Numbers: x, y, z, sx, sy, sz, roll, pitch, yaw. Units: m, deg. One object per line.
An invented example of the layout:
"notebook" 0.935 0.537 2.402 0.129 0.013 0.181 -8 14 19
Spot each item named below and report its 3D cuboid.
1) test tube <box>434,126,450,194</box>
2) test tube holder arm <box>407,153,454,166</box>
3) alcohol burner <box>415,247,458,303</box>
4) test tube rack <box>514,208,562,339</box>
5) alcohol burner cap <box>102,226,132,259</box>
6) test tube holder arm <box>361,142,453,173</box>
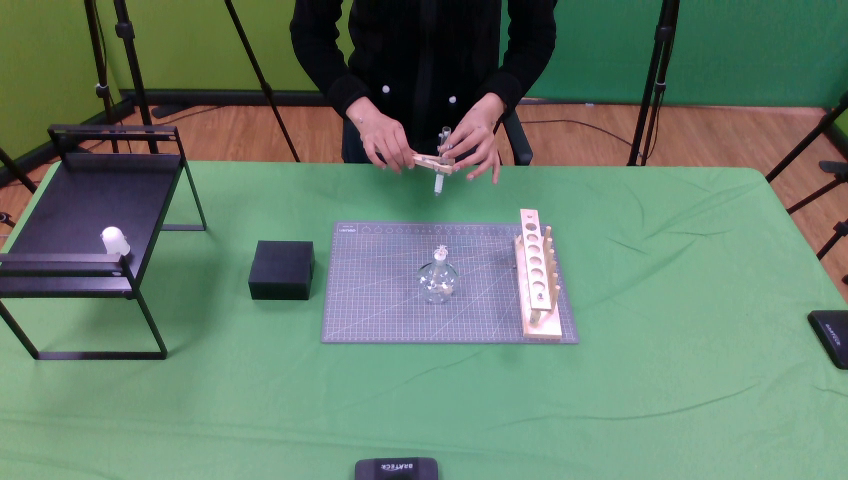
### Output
"test tube" 0.032 -0.143 1.109 0.017 0.151 0.017 4 46 -4
"test tube holder arm" 0.012 -0.148 1.117 0.088 0.015 0.010 6 47 2
"alcohol burner" 0.024 0.057 1.078 0.078 0.119 0.077 3 44 -2
"test tube rack" 0.212 0.056 1.113 0.067 0.085 0.241 3 46 -1
"alcohol burner cap" -0.457 0.001 0.897 0.034 0.048 0.033 2 46 -2
"test tube holder arm" -0.033 -0.154 1.119 0.178 0.015 0.013 15 47 10
